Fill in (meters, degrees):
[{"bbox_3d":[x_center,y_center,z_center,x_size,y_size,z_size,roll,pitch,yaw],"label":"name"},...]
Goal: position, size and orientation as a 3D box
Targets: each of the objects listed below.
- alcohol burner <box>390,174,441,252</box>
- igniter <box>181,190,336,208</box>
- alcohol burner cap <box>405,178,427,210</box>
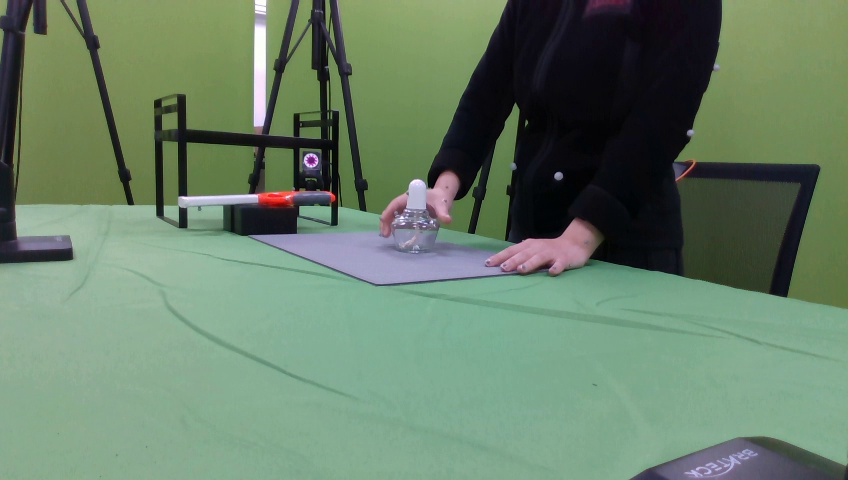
[{"bbox_3d":[-0.012,-0.041,0.929,0.078,0.119,0.078,4,8,0],"label":"alcohol burner"},{"bbox_3d":[-0.294,-0.076,1.103,0.278,0.025,0.057,-5,12,-33],"label":"igniter"},{"bbox_3d":[-0.011,-0.072,0.926,0.034,0.048,0.034,4,7,0],"label":"alcohol burner cap"}]
